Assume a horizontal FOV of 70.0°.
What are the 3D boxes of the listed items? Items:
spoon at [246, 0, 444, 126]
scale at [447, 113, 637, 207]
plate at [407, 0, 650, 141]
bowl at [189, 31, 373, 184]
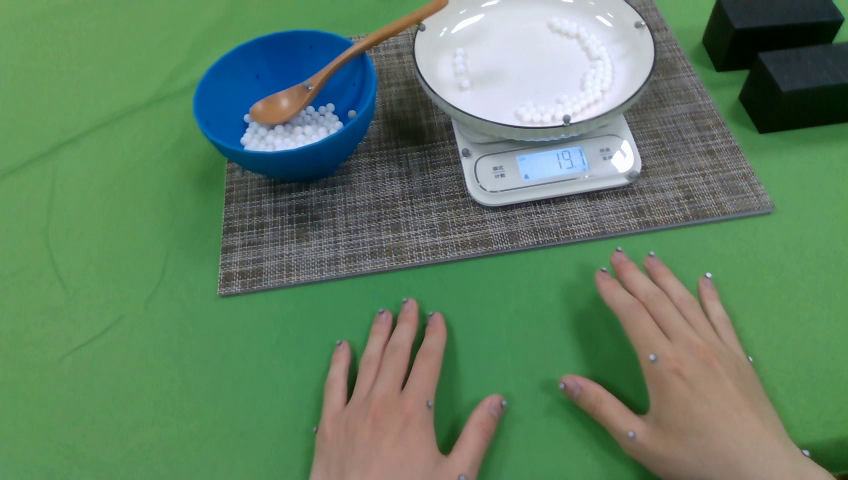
[{"bbox_3d":[-0.068,-0.151,0.514,0.194,0.022,0.041,-31,48,10],"label":"spoon"},{"bbox_3d":[0.094,-0.122,0.550,0.149,0.032,0.199,-9,56,-2],"label":"scale"},{"bbox_3d":[0.089,-0.160,0.536,0.209,0.038,0.207,-2,55,3],"label":"plate"},{"bbox_3d":[-0.114,-0.102,0.525,0.151,0.077,0.150,-2,55,3],"label":"bowl"}]
